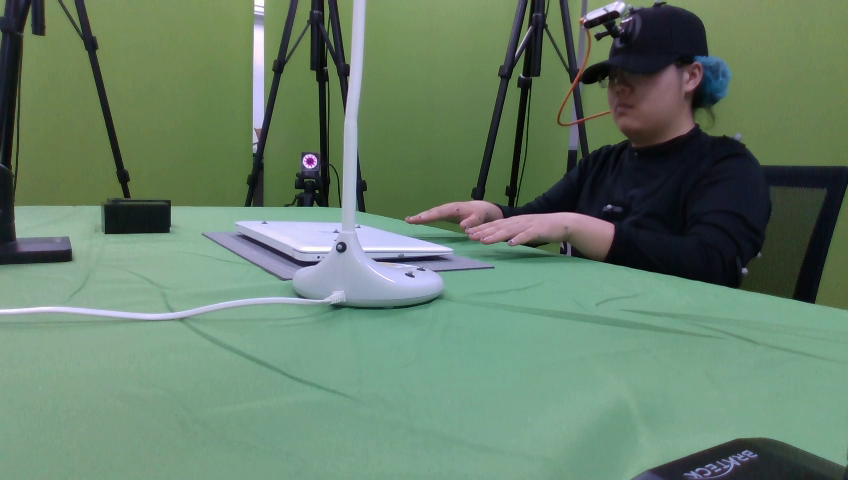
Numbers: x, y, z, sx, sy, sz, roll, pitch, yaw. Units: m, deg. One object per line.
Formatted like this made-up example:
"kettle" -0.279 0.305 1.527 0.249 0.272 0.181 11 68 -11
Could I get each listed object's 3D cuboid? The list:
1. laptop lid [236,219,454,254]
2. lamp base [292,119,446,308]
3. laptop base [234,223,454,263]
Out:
"laptop lid" -0.140 -0.008 0.957 0.243 0.013 0.355 1 7 -30
"lamp base" -0.056 -0.030 0.616 0.160 0.180 0.179 3 10 8
"laptop base" -0.143 0.003 0.957 0.237 0.023 0.352 2 7 -32
